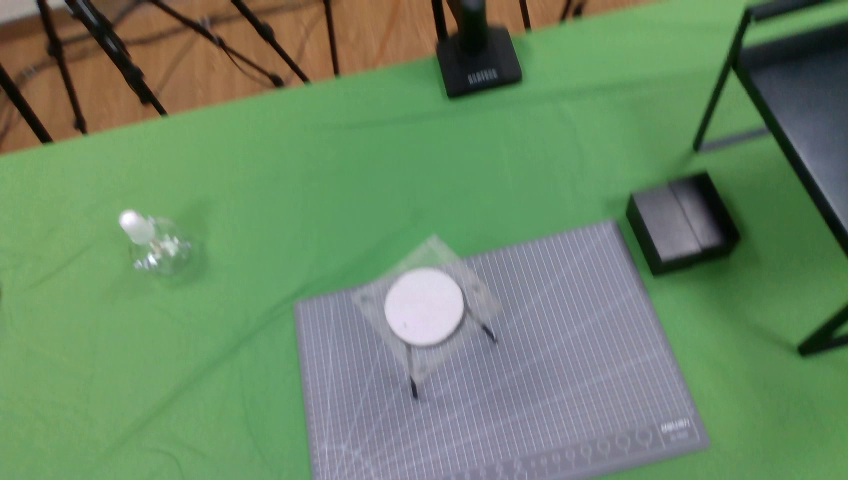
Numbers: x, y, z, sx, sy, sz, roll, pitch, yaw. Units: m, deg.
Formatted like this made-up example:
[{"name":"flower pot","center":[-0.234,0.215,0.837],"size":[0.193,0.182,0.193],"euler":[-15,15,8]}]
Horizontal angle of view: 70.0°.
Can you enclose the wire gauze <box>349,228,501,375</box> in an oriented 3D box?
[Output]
[{"name":"wire gauze","center":[0.000,0.060,0.650],"size":[0.121,0.011,0.124],"euler":[-37,63,-10]}]

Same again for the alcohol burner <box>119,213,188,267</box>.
[{"name":"alcohol burner","center":[-0.376,-0.010,0.829],"size":[0.078,0.120,0.077],"euler":[-3,64,6]}]

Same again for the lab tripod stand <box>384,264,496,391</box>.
[{"name":"lab tripod stand","center":[0.006,0.093,0.709],"size":[0.148,0.132,0.147],"euler":[-4,62,8]}]

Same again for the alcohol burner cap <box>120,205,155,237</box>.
[{"name":"alcohol burner cap","center":[-0.381,-0.028,0.797],"size":[0.034,0.048,0.033],"euler":[0,63,1]}]
